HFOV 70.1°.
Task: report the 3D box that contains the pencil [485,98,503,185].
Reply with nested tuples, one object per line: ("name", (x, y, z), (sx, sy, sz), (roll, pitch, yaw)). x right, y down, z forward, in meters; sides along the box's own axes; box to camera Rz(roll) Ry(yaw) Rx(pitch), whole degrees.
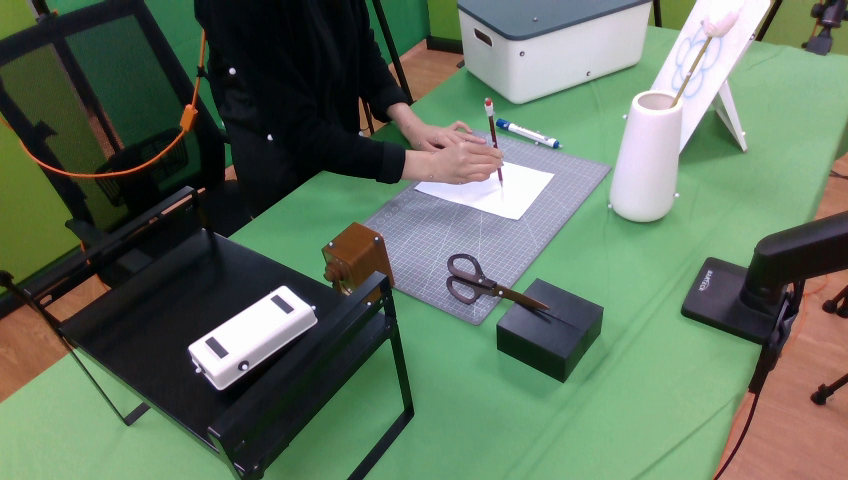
("pencil", (0.119, -0.157, 1.004), (0.012, 0.195, 0.012), (-7, 50, 10))

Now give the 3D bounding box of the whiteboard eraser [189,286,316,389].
("whiteboard eraser", (-0.166, 0.096, 0.593), (0.113, 0.042, 0.055), (-36, 47, -29))

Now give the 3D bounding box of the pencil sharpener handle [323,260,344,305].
("pencil sharpener handle", (-0.131, 0.062, 0.839), (0.035, 0.068, 0.031), (29, 55, 27))

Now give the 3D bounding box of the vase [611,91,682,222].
("vase", (0.348, -0.125, 0.935), (0.098, 0.201, 0.097), (-3, 40, 3))

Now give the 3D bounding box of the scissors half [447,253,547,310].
("scissors half", (0.098, 0.058, 0.821), (0.173, 0.040, 0.013), (27, 33, 36))

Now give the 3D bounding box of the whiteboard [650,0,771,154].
("whiteboard", (0.543, -0.298, 1.076), (0.144, 0.305, 0.216), (12, 40, -7))

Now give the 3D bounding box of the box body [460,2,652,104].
("box body", (0.291, -0.465, 1.371), (0.365, 0.161, 0.252), (-22, 42, -16))

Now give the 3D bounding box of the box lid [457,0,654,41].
("box lid", (0.285, -0.522, 1.323), (0.373, 0.015, 0.261), (-22, 43, -16))

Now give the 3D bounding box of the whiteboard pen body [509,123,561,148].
("whiteboard pen body", (0.208, -0.211, 1.196), (0.139, 0.017, 0.017), (30, 52, 33))

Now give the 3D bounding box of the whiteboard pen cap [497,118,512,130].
("whiteboard pen cap", (0.165, -0.235, 1.227), (0.033, 0.018, 0.018), (31, 53, 31))

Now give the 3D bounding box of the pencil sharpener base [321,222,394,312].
("pencil sharpener base", (-0.096, 0.041, 0.873), (0.061, 0.107, 0.077), (25, 54, 32))

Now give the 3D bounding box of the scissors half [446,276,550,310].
("scissors half", (0.098, 0.077, 0.827), (0.174, 0.040, 0.013), (6, 14, 44))

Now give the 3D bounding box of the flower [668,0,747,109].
("flower", (0.354, -0.187, 0.879), (0.038, 0.362, 0.044), (30, 48, 14))
